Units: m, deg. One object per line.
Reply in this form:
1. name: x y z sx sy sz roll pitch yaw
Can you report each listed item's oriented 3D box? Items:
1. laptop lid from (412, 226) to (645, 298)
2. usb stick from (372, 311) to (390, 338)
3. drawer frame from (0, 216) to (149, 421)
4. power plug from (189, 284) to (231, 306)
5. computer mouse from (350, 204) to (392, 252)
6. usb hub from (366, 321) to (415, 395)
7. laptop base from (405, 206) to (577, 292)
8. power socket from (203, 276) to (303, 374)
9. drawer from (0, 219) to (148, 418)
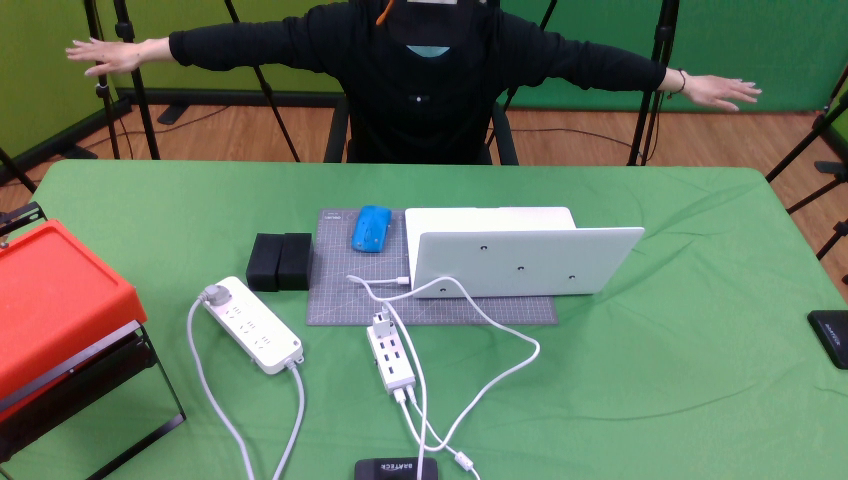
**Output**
1. laptop lid: 0.161 0.042 1.012 0.357 0.242 0.013 0 59 -7
2. usb stick: -0.073 0.146 1.012 0.027 0.059 0.021 -13 50 -18
3. drawer frame: -0.510 0.093 0.780 0.201 0.083 0.213 31 52 23
4. power plug: -0.367 0.100 1.037 0.072 0.053 0.035 -24 53 -26
5. computer mouse: -0.104 -0.027 1.202 0.063 0.041 0.116 11 51 4
6. usb hub: -0.056 0.194 1.007 0.049 0.025 0.124 -13 49 -15
7. laptop base: 0.143 0.018 1.196 0.355 0.023 0.234 -1 43 -6
8. power socket: -0.296 0.141 1.034 0.072 0.033 0.225 -35 58 -30
9. drawer: -0.509 0.093 0.783 0.193 0.073 0.211 32 53 24
